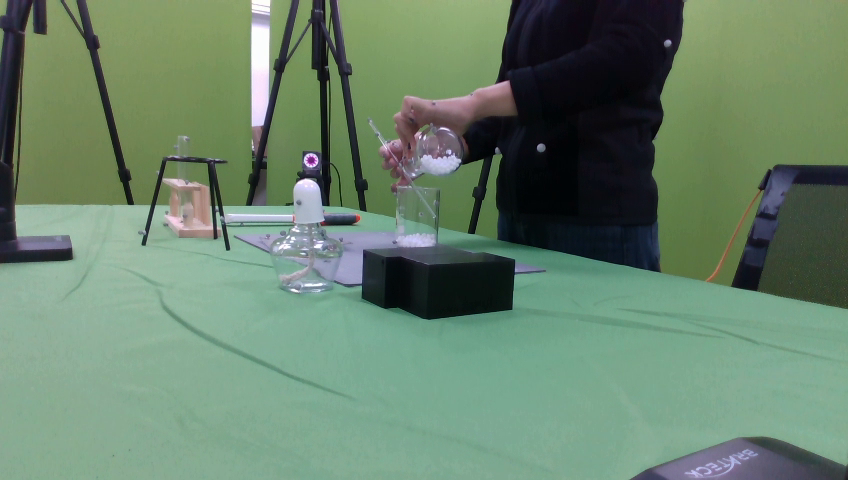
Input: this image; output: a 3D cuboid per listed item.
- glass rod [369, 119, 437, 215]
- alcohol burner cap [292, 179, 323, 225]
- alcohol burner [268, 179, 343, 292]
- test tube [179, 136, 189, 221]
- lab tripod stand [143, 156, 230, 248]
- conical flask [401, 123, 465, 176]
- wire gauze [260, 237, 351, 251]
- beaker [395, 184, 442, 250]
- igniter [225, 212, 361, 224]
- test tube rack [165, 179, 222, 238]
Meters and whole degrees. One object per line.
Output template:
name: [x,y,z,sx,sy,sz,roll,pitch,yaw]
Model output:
glass rod: [-0.035,-0.119,0.970,0.008,0.199,0.008,-32,-14,-9]
alcohol burner cap: [-0.124,-0.040,0.632,0.034,0.048,0.034,-3,10,1]
alcohol burner: [-0.124,-0.005,0.637,0.078,0.119,0.078,4,8,0]
test tube: [-0.425,-0.108,1.070,0.017,0.150,0.017,4,9,0]
lab tripod stand: [-0.338,-0.058,0.908,0.148,0.131,0.148,4,7,0]
conical flask: [0.004,-0.125,0.908,0.075,0.075,0.121,-1,-5,-23]
wire gauze: [-0.185,0.004,0.938,0.122,0.011,0.124,-1,5,-24]
beaker: [-0.009,-0.038,0.968,0.074,0.100,0.084,6,8,21]
igniter: [-0.262,-0.045,1.240,0.278,0.025,0.057,-2,-1,-31]
test tube rack: [-0.423,-0.062,1.098,0.067,0.085,0.241,-2,9,-28]
